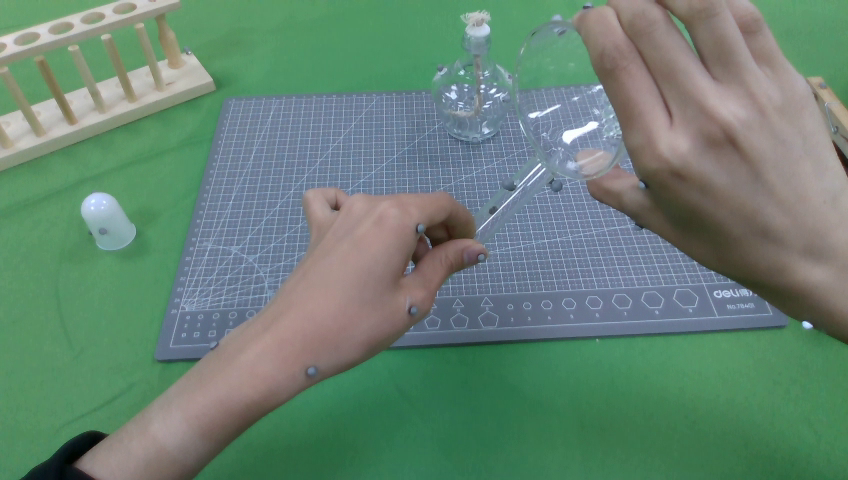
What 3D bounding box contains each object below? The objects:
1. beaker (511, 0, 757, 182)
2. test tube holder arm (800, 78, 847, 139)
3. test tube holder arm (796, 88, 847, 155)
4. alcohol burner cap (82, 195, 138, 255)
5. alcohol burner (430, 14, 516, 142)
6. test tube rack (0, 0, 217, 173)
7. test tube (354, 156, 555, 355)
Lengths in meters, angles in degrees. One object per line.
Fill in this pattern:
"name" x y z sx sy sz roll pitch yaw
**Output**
"beaker" 0.105 -0.079 0.300 0.100 0.084 0.073 -25 62 -23
"test tube holder arm" 0.333 -0.103 0.490 0.015 0.010 0.087 1 48 -7
"test tube holder arm" 0.336 -0.066 0.464 0.015 0.013 0.176 1 47 -7
"alcohol burner cap" -0.254 -0.015 0.485 0.034 0.048 0.033 0 49 1
"alcohol burner" 0.044 -0.146 0.538 0.078 0.120 0.077 0 51 0
"test tube rack" -0.333 -0.147 0.569 0.242 0.086 0.066 -28 54 -21
"test tube" 0.013 0.012 0.332 0.150 0.017 0.017 -46 52 15
